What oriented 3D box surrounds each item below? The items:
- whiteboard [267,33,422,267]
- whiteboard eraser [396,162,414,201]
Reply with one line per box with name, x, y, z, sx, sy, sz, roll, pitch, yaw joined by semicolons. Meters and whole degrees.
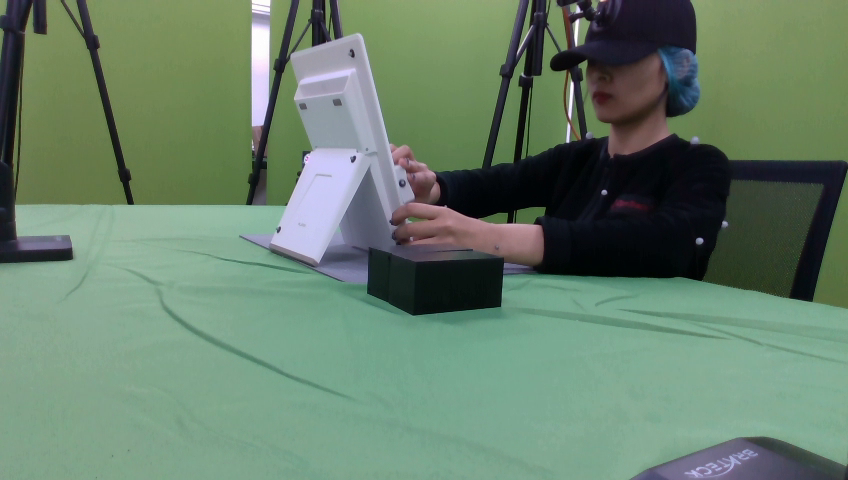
whiteboard;-0.153;-0.097;0.818;0.144;0.305;0.216;-24;20;-28
whiteboard eraser;-0.060;-0.078;0.862;0.042;0.055;0.112;-27;13;-26
